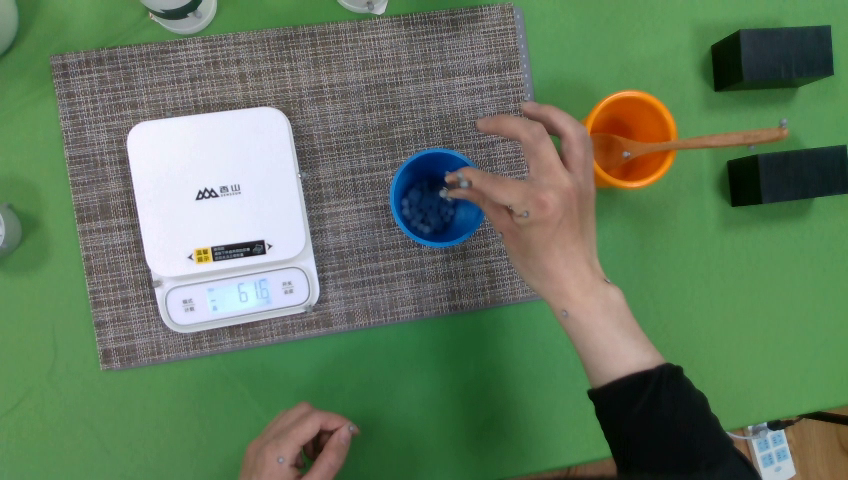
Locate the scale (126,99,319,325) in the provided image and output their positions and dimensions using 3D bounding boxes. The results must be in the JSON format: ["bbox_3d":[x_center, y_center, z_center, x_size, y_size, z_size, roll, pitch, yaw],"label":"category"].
[{"bbox_3d":[-0.188,-0.026,0.574,0.149,0.031,0.201,-10,93,-6],"label":"scale"}]

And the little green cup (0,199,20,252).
[{"bbox_3d":[-0.403,-0.014,0.548,0.062,0.038,0.061,0,92,-8],"label":"little green cup"}]

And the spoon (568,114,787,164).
[{"bbox_3d":[0.228,-0.098,0.567,0.022,0.192,0.042,-14,101,-50],"label":"spoon"}]

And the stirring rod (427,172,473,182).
[{"bbox_3d":[0.018,-0.053,0.509,0.014,0.175,0.006,-11,97,-5],"label":"stirring rod"}]

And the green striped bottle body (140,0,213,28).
[{"bbox_3d":[-0.227,-0.233,0.523,0.063,0.119,0.063,0,91,-7],"label":"green striped bottle body"}]

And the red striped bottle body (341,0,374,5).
[{"bbox_3d":[-0.060,-0.262,0.542,0.063,0.119,0.063,0,91,-7],"label":"red striped bottle body"}]

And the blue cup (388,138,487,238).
[{"bbox_3d":[0.007,-0.043,0.562,0.093,0.100,0.092,0,90,-6],"label":"blue cup"}]

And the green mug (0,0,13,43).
[{"bbox_3d":[-0.424,-0.194,0.508,0.093,0.105,0.125,26,88,-7],"label":"green mug"}]
